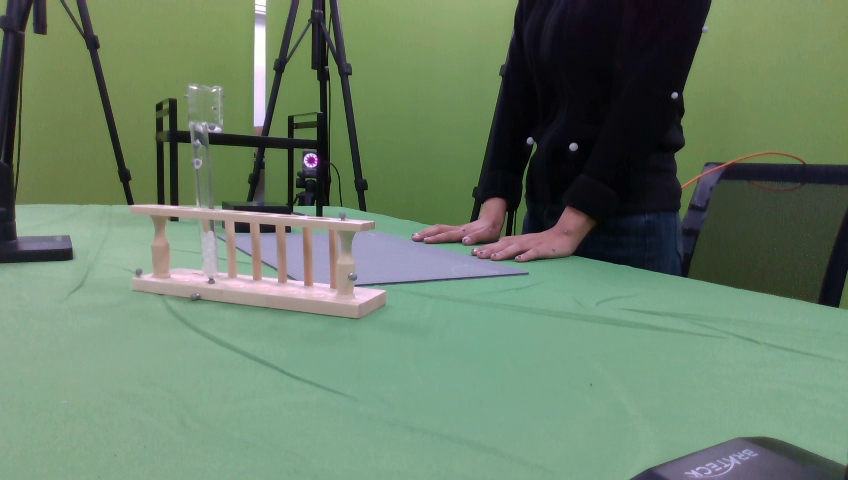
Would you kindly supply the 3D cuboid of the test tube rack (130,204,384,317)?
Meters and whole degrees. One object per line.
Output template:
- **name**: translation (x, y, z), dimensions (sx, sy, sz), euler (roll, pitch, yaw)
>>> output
- **test tube rack**: translation (-0.162, 0.013, 0.589), dimensions (0.242, 0.085, 0.067), euler (5, 8, 17)

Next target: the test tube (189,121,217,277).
- **test tube**: translation (-0.210, -0.037, 0.576), dimensions (0.017, 0.150, 0.017), euler (1, 14, 0)

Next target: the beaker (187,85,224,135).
- **beaker**: translation (-0.466, -0.276, 1.296), dimensions (0.074, 0.100, 0.083), euler (-3, 10, -35)
